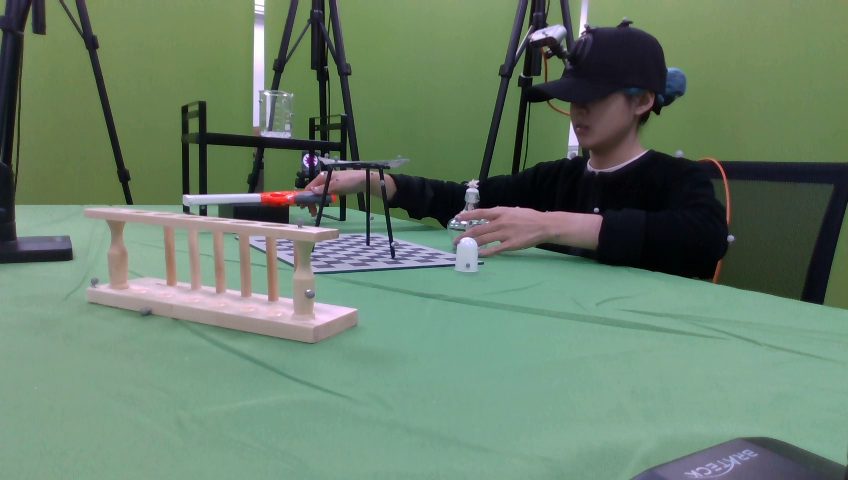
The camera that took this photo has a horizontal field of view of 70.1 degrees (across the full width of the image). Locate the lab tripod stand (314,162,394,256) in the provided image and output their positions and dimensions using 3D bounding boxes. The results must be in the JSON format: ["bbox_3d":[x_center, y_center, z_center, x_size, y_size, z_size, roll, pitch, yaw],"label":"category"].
[{"bbox_3d":[-0.098,-0.048,0.897,0.148,0.131,0.148,1,6,0],"label":"lab tripod stand"}]

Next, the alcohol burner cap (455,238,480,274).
[{"bbox_3d":[0.058,0.022,0.798,0.034,0.048,0.034,3,6,0],"label":"alcohol burner cap"}]

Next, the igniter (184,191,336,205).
[{"bbox_3d":[-0.298,-0.078,1.126,0.278,0.025,0.057,-4,13,-32],"label":"igniter"}]

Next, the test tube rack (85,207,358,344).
[{"bbox_3d":[-0.177,0.022,0.518,0.241,0.085,0.067,6,7,23],"label":"test tube rack"}]

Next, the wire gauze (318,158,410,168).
[{"bbox_3d":[-0.090,-0.114,0.888,0.122,0.011,0.124,0,6,-15],"label":"wire gauze"}]

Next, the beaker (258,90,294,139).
[{"bbox_3d":[-0.324,-0.274,1.331,0.083,0.100,0.074,7,9,24],"label":"beaker"}]

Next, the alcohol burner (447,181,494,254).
[{"bbox_3d":[0.077,-0.036,0.984,0.078,0.119,0.078,4,9,0],"label":"alcohol burner"}]
